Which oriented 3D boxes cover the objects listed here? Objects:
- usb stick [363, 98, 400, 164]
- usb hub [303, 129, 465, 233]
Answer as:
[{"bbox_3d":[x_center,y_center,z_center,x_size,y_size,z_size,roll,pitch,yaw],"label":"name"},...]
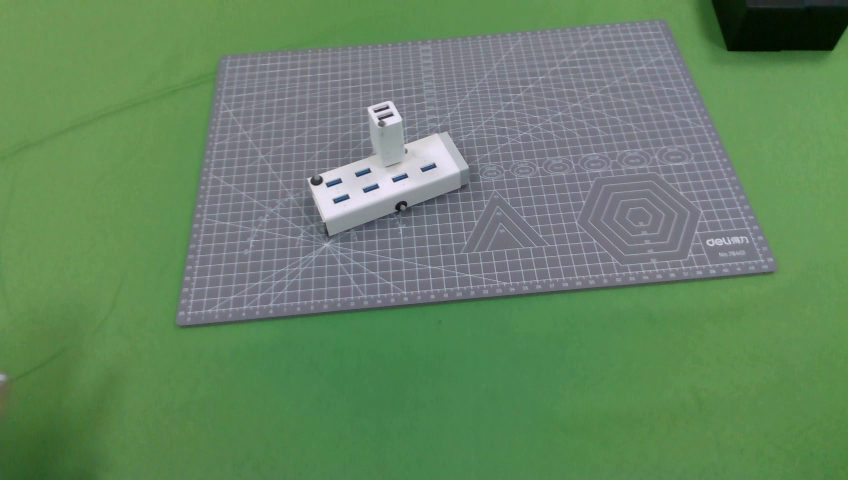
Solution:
[{"bbox_3d":[-0.033,-0.081,0.481,0.021,0.059,0.027,-21,55,-13],"label":"usb stick"},{"bbox_3d":[-0.032,-0.051,0.497,0.125,0.025,0.049,-21,58,-11],"label":"usb hub"}]
